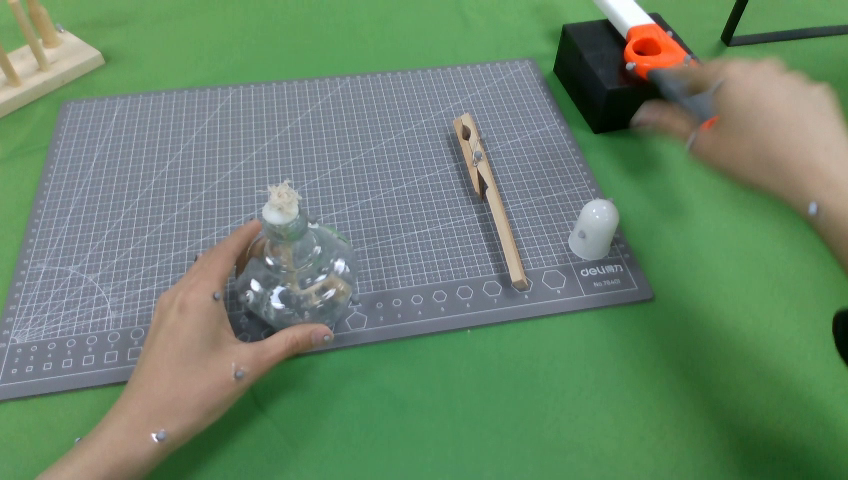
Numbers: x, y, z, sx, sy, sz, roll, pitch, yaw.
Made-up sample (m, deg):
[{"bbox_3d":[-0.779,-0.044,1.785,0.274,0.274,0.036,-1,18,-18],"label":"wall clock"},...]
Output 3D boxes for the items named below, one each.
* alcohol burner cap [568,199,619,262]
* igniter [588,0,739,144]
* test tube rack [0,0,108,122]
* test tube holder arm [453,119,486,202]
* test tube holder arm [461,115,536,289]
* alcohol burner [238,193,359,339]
[{"bbox_3d":[0.127,-0.010,0.450,0.034,0.048,0.033,1,50,0],"label":"alcohol burner cap"},{"bbox_3d":[0.197,-0.178,0.541,0.057,0.025,0.273,-12,50,-7],"label":"igniter"},{"bbox_3d":[-0.410,-0.141,0.514,0.066,0.086,0.242,32,57,22],"label":"test tube rack"},{"bbox_3d":[0.041,-0.069,0.513,0.010,0.015,0.087,-30,51,19],"label":"test tube holder arm"},{"bbox_3d":[0.056,-0.037,0.485,0.013,0.015,0.176,-31,51,19],"label":"test tube holder arm"},{"bbox_3d":[-0.081,0.011,0.381,0.078,0.120,0.077,0,53,0],"label":"alcohol burner"}]
